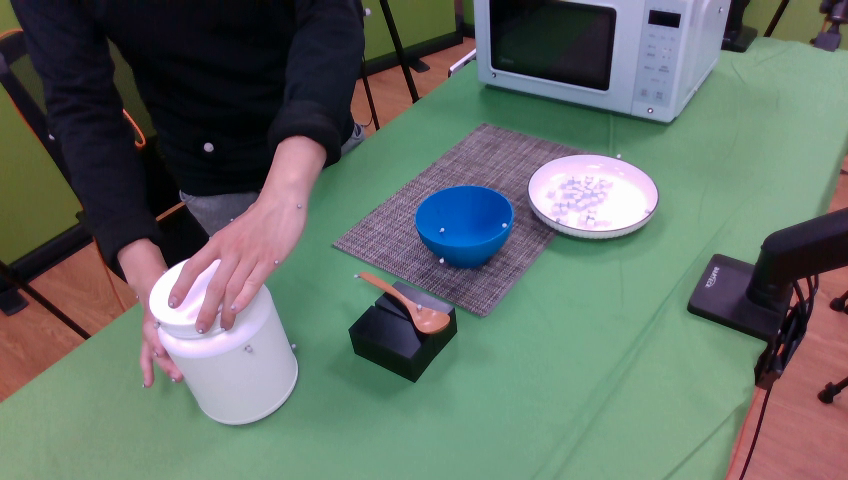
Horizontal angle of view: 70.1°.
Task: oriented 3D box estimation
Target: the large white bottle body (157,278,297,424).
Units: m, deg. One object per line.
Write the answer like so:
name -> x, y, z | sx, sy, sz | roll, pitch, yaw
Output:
large white bottle body -> -0.239, 0.120, 0.735 | 0.130, 0.185, 0.130 | -4, 41, 4

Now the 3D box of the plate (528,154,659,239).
plate -> 0.274, -0.069, 0.993 | 0.209, 0.038, 0.208 | -2, 42, 2

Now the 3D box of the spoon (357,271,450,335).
spoon -> -0.034, 0.078, 0.812 | 0.042, 0.022, 0.192 | -37, 43, -22

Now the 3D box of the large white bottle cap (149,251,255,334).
large white bottle cap -> -0.249, 0.057, 0.679 | 0.115, 0.018, 0.114 | -4, 42, 4

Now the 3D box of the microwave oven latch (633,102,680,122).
microwave oven latch -> 0.444, -0.249, 1.157 | 0.078, 0.029, 0.030 | 21, 49, 30

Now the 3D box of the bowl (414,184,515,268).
bowl -> 0.063, -0.010, 0.923 | 0.151, 0.077, 0.150 | -4, 40, 4

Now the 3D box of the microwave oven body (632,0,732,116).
microwave oven body -> 0.377, -0.462, 1.267 | 0.438, 0.261, 0.327 | 21, 48, 30

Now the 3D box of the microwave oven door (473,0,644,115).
microwave oven door -> 0.257, -0.396, 1.199 | 0.353, 0.245, 0.039 | 21, 48, 29
